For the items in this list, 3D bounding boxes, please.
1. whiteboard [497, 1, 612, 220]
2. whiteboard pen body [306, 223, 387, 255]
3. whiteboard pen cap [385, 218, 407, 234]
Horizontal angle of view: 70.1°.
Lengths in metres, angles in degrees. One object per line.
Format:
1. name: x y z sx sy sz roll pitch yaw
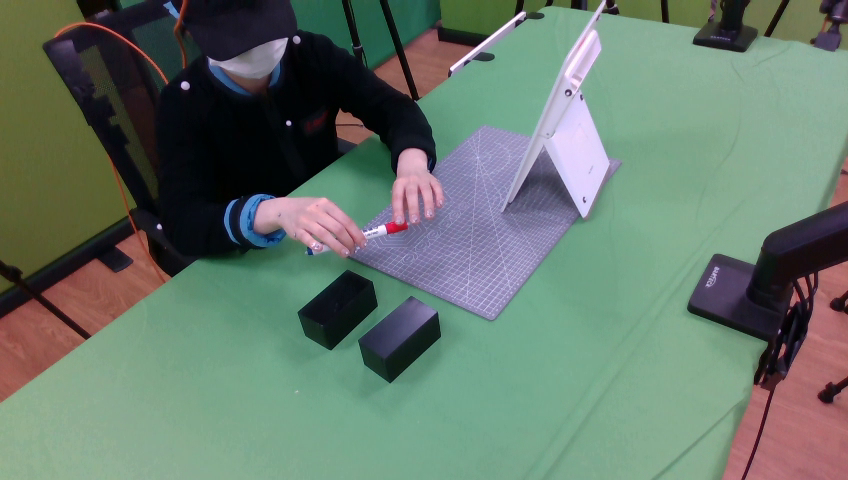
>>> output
1. whiteboard: 0.260 -0.178 0.963 0.143 0.306 0.217 28 49 9
2. whiteboard pen body: -0.097 -0.004 0.851 0.141 0.017 0.016 -17 41 -10
3. whiteboard pen cap: -0.041 -0.019 0.862 0.032 0.017 0.017 -16 41 -12
